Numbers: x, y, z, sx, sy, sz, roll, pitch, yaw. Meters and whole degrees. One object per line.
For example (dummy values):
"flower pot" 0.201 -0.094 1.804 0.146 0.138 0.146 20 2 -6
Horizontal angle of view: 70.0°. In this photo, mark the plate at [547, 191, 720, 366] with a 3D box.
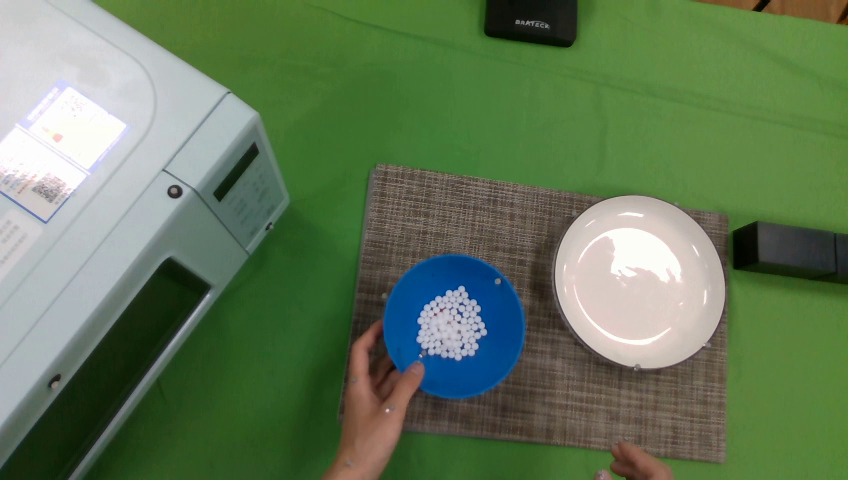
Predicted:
"plate" 0.244 0.046 0.718 0.208 0.039 0.206 2 78 -7

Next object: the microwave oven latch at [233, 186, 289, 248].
"microwave oven latch" -0.182 -0.032 0.669 0.030 0.029 0.079 35 77 1

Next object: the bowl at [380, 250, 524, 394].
"bowl" 0.026 0.092 0.661 0.151 0.077 0.150 1 77 -6

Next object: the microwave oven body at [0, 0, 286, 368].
"microwave oven body" -0.391 0.009 0.536 0.326 0.261 0.440 33 77 1

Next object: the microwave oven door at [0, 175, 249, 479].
"microwave oven door" -0.290 0.122 0.518 0.039 0.244 0.355 33 76 2
